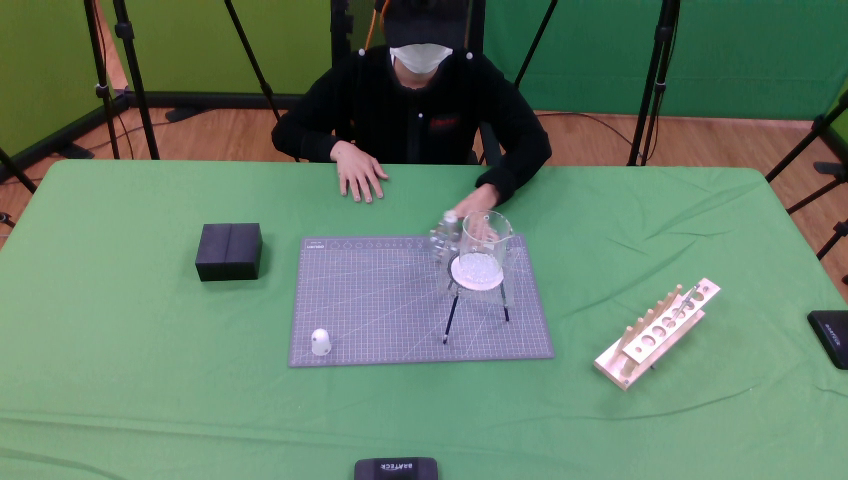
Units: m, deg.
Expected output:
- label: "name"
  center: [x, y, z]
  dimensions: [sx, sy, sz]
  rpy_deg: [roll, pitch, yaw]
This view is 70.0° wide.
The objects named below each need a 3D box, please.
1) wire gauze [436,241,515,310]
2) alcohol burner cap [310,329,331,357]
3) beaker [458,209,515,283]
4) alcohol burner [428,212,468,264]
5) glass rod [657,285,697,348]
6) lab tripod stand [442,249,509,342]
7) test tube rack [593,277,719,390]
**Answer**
- label: "wire gauze"
  center: [0.086, 0.052, 0.982]
  dimensions: [0.125, 0.011, 0.121]
  rpy_deg: [11, 47, 2]
- label: "alcohol burner cap"
  center: [-0.173, 0.168, 1.004]
  dimensions: [0.034, 0.048, 0.033]
  rpy_deg: [2, 46, -2]
- label: "beaker"
  center: [0.094, 0.013, 0.952]
  dimensions: [0.084, 0.101, 0.073]
  rpy_deg: [12, 46, 7]
- label: "alcohol burner"
  center: [0.046, -0.011, 1.132]
  dimensions: [0.078, 0.119, 0.077]
  rpy_deg: [3, 50, -3]
- label: "glass rod"
  center: [0.401, 0.128, 0.971]
  dimensions: [0.008, 0.201, 0.008]
  rpy_deg: [0, 53, 1]
- label: "lab tripod stand"
  center: [0.081, 0.091, 1.036]
  dimensions: [0.148, 0.132, 0.147]
  rpy_deg: [3, 44, -3]
- label: "test tube rack"
  center: [0.401, 0.148, 1.043]
  dimensions: [0.242, 0.085, 0.066]
  rpy_deg: [-30, 55, -29]
